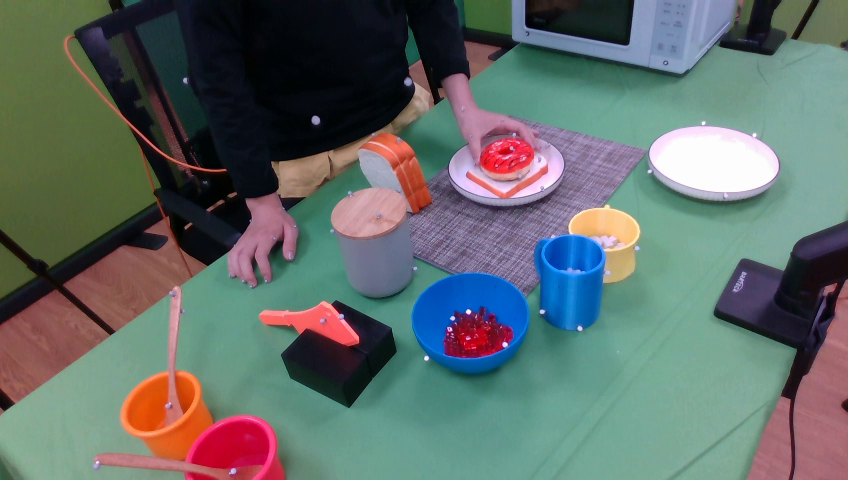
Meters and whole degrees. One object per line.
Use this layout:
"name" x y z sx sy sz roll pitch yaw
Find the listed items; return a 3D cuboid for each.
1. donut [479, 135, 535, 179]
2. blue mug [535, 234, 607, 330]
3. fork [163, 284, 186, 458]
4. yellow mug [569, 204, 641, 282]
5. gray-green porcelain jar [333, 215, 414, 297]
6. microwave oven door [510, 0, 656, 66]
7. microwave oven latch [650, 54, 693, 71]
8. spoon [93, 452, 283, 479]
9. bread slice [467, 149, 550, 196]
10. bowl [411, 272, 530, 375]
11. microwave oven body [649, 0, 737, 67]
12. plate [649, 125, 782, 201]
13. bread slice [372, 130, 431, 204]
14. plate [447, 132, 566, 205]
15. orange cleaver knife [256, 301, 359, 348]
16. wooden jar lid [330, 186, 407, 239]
"donut" 0.144 -0.146 1.056 0.099 0.048 0.098 -7 42 7
"blue mug" 0.191 0.048 0.824 0.082 0.106 0.115 -26 44 -20
"fork" -0.302 0.157 0.733 0.028 0.019 0.207 -3 84 15
"yellow mug" 0.268 -0.005 0.904 0.099 0.064 0.130 7 41 15
"gray-green porcelain jar" -0.071 0.012 0.887 0.106 0.127 0.105 -4 41 4
"microwave oven door" 0.350 -0.539 1.349 0.353 0.245 0.039 24 50 31
"microwave oven latch" 0.531 -0.386 1.301 0.078 0.029 0.030 26 51 33
"spoon" -0.240 0.239 0.632 0.195 0.021 0.041 26 34 -32
"bread slice" 0.157 -0.127 1.085 0.132 0.019 0.104 -36 49 -22
"bowl" 0.062 0.120 0.780 0.151 0.077 0.150 -4 40 4
"microwave oven body" 0.475 -0.602 1.411 0.438 0.261 0.327 23 50 32
"plate" 0.493 -0.127 1.036 0.207 0.039 0.206 -4 41 4
"bread slice" -0.042 -0.127 1.038 0.106 0.135 0.018 30 61 34
"plate" 0.146 -0.124 1.076 0.209 0.038 0.208 -4 40 4
"orange cleaver knife" -0.160 0.115 0.813 0.210 0.077 0.012 -9 29 48
"wooden jar lid" -0.077 -0.035 0.846 0.108 0.021 0.108 -5 41 5
